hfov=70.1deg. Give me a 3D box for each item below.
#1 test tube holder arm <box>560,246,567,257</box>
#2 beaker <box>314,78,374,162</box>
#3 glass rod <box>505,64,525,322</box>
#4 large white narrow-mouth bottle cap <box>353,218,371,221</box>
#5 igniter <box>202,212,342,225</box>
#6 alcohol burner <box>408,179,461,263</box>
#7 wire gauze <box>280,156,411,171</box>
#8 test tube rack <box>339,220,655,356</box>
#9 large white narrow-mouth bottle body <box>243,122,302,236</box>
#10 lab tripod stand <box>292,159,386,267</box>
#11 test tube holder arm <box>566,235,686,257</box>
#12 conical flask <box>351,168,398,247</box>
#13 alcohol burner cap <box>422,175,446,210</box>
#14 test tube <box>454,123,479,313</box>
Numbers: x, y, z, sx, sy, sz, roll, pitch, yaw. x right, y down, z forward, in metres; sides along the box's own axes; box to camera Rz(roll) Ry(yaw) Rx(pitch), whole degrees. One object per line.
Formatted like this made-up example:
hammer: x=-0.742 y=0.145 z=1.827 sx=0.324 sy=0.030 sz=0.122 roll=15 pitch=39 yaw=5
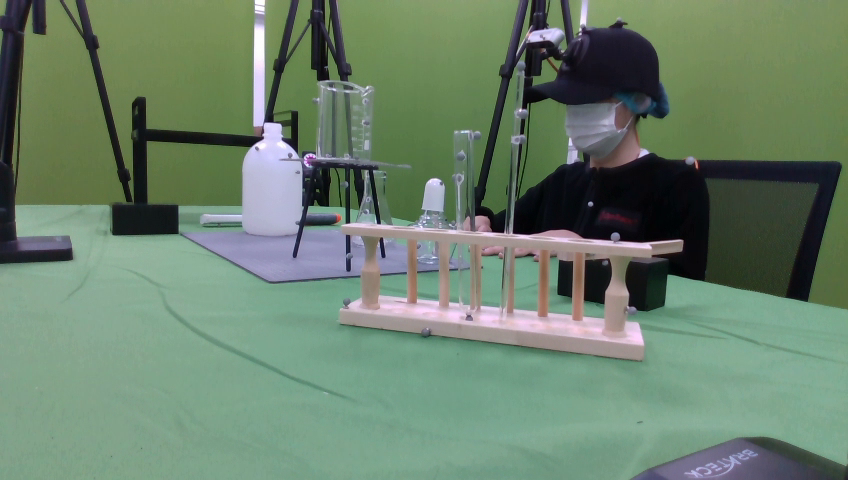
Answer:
test tube holder arm: x=0.173 y=0.007 z=0.612 sx=0.088 sy=0.015 sz=0.010 roll=-3 pitch=9 yaw=-30
beaker: x=-0.101 y=-0.151 z=0.775 sx=0.074 sy=0.100 sz=0.083 roll=-2 pitch=8 yaw=-40
glass rod: x=0.069 y=-0.030 z=0.458 sx=0.008 sy=0.199 sz=0.008 roll=1 pitch=15 yaw=0
large white narrow-mouth bottle cap: x=-0.120 y=-0.029 z=1.184 sx=0.038 sy=0.024 sz=0.037 roll=2 pitch=8 yaw=0
igniter: x=-0.298 y=-0.043 z=1.216 sx=0.278 sy=0.025 sz=0.057 roll=-3 pitch=-2 yaw=-32
alcohol burner: x=0.014 y=-0.029 z=0.834 sx=0.078 sy=0.119 sz=0.078 roll=0 pitch=6 yaw=0
wire gauze: x=-0.103 y=-0.103 z=0.785 sx=0.121 sy=0.011 sz=0.126 roll=11 pitch=8 yaw=42
test tube rack: x=0.056 y=0.032 z=0.495 sx=0.242 sy=0.085 sz=0.067 roll=4 pitch=7 yaw=15
large white narrow-mouth bottle body: x=-0.264 y=-0.109 z=1.061 sx=0.102 sy=0.194 sz=0.102 roll=2 pitch=8 yaw=0
lab tripod stand: x=-0.105 y=-0.039 z=0.798 sx=0.148 sy=0.131 sz=0.148 roll=2 pitch=5 yaw=0
test tube holder arm: x=0.215 y=0.006 z=0.630 sx=0.179 sy=0.015 sz=0.013 roll=-3 pitch=9 yaw=-31
conical flask: x=-0.078 y=-0.053 z=0.962 sx=0.075 sy=0.122 sz=0.075 roll=2 pitch=7 yaw=0
alcohol burner cap: x=0.016 y=-0.065 z=0.830 sx=0.034 sy=0.048 sz=0.034 roll=7 pitch=4 yaw=0
test tube: x=0.034 y=-0.016 z=0.477 sx=0.017 sy=0.150 sz=0.017 roll=-2 pitch=9 yaw=1
